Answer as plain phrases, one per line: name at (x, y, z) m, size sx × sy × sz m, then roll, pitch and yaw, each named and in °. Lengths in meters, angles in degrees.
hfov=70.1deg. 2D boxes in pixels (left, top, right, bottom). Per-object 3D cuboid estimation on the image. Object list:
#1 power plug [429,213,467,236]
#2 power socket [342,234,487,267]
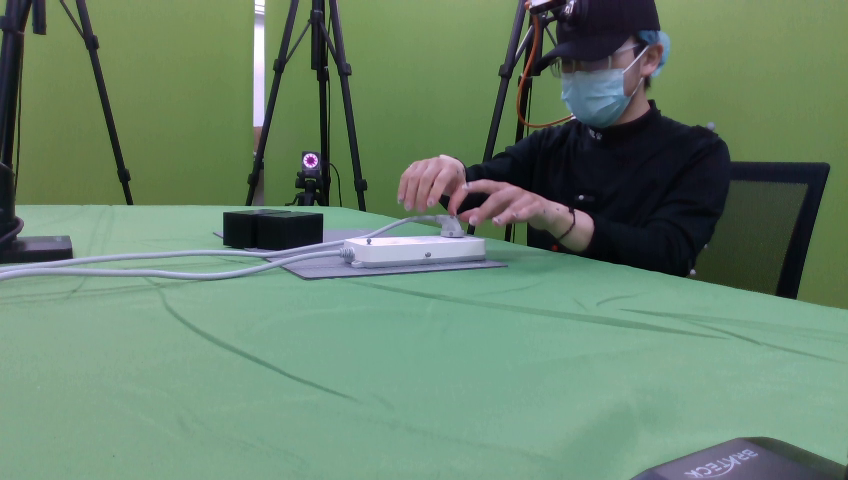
power plug at (0.037, -0.014, 0.912) m, size 0.035 × 0.052 × 0.072 m, roll -2°, pitch 5°, yaw -22°
power socket at (-0.009, 0.012, 0.845) m, size 0.228 × 0.032 × 0.072 m, roll -3°, pitch 9°, yaw -35°
